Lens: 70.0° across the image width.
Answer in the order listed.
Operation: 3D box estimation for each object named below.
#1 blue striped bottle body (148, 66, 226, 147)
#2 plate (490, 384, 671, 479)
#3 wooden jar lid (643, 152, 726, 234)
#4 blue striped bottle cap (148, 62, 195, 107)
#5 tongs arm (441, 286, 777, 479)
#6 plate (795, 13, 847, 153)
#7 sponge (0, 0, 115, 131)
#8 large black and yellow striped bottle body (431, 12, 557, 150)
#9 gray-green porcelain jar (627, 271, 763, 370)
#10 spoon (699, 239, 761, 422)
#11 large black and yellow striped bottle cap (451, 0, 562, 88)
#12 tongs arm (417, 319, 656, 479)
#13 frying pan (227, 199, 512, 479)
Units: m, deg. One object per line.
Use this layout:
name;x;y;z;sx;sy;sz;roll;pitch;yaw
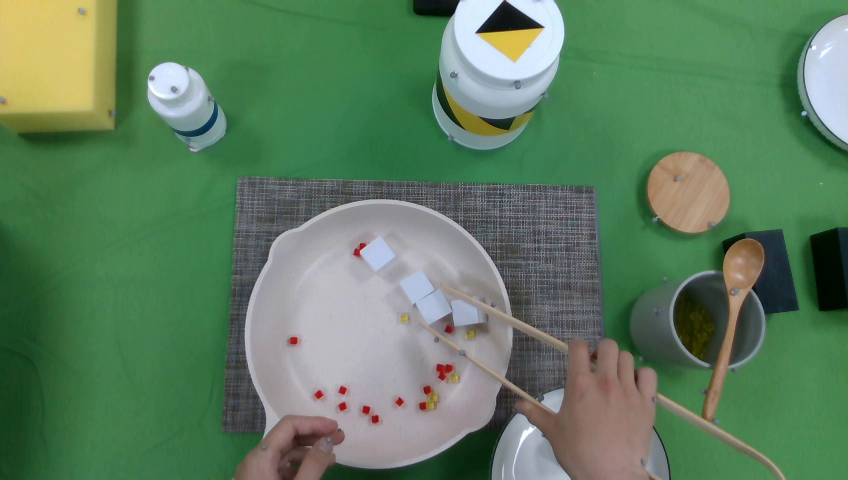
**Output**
blue striped bottle body;-0.274;-0.157;0.699;0.063;0.121;0.063;1;78;-4
plate;0.176;0.269;0.696;0.208;0.039;0.207;1;81;-5
wooden jar lid;0.334;-0.059;0.782;0.108;0.021;0.108;1;81;-4
blue striped bottle cap;-0.271;-0.168;0.650;0.044;0.020;0.044;1;81;-4
tongs arm;0.158;0.134;0.590;0.384;0.028;0.028;29;73;36
plate;0.599;-0.206;0.821;0.209;0.038;0.208;1;79;-4
sponge;-0.446;-0.240;0.731;0.118;0.061;0.206;-4;80;-6
large black and yellow striped bottle body;0.078;-0.196;0.704;0.131;0.184;0.130;1;78;-4
gray-green porcelain jar;0.301;0.096;0.696;0.106;0.127;0.105;1;79;-4
spoon;0.311;0.093;0.626;0.042;0.021;0.193;17;82;-4
large black and yellow striped bottle cap;0.085;-0.213;0.622;0.115;0.019;0.114;1;81;-4
tongs arm;0.140;0.158;0.584;0.381;0.027;0.050;32;78;37
frying pan;-0.117;0.174;0.655;0.306;0.103;0.487;42;71;5
